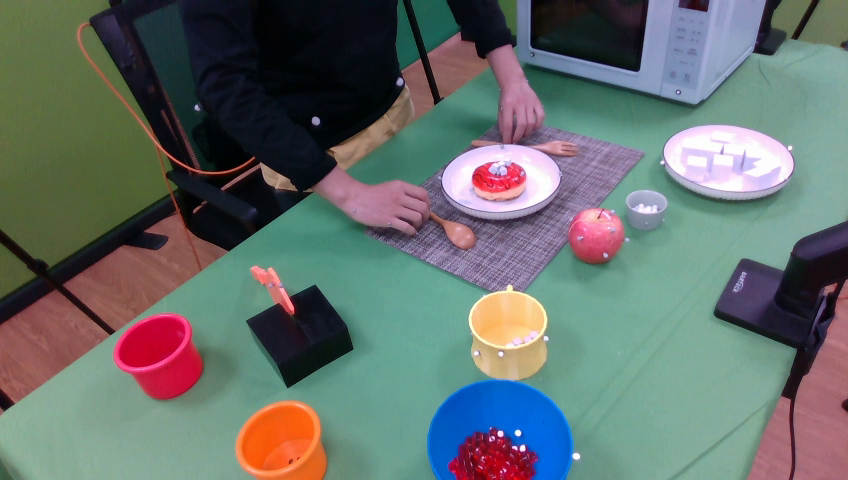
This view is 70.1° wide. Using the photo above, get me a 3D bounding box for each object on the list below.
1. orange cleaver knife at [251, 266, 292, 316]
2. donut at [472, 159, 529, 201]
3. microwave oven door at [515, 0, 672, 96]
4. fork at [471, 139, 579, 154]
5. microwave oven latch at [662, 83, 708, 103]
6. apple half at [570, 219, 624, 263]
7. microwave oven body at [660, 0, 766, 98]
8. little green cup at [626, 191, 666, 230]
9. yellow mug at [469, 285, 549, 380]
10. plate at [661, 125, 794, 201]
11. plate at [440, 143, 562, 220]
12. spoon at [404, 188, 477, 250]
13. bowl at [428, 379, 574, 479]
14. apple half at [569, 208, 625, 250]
[{"bbox_3d":[-0.221,0.071,0.873,0.012,0.077,0.210,-25,11,-21],"label":"orange cleaver knife"},{"bbox_3d":[0.132,-0.105,1.043,0.099,0.048,0.098,-5,38,4],"label":"donut"},{"bbox_3d":[0.344,-0.455,1.259,0.353,0.245,0.039,26,51,33],"label":"microwave oven door"},{"bbox_3d":[0.191,-0.181,1.153,0.206,0.019,0.028,5,76,19],"label":"fork"},{"bbox_3d":[0.518,-0.297,1.204,0.078,0.029,0.030,28,52,35],"label":"microwave oven latch"},{"bbox_3d":[0.250,0.010,0.885,0.081,0.081,0.033,7,39,17],"label":"apple half"},{"bbox_3d":[0.472,-0.513,1.317,0.438,0.261,0.327,26,51,34],"label":"microwave oven body"},{"bbox_3d":[0.352,-0.046,0.963,0.061,0.039,0.061,-4,40,4],"label":"little green cup"},{"bbox_3d":[0.112,0.112,0.792,0.100,0.064,0.130,0,40,9],"label":"yellow mug"},{"bbox_3d":[0.513,-0.128,1.035,0.207,0.039,0.206,-4,40,4],"label":"plate"},{"bbox_3d":[0.134,-0.098,1.052,0.209,0.038,0.208,-4,40,4],"label":"plate"},{"bbox_3d":[0.021,-0.039,1.019,0.042,0.022,0.192,-29,45,-24],"label":"spoon"},{"bbox_3d":[0.082,0.233,0.644,0.151,0.077,0.150,-4,40,4],"label":"bowl"},{"bbox_3d":[0.262,-0.014,0.913,0.080,0.075,0.053,4,37,20],"label":"apple half"}]
